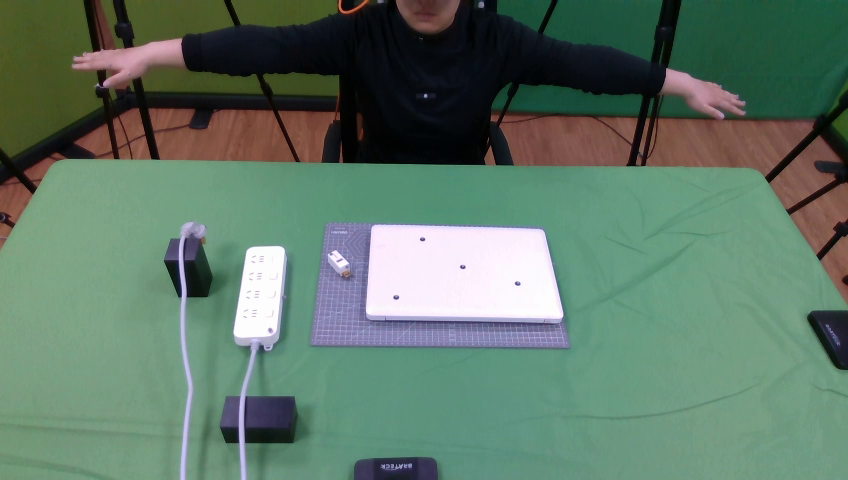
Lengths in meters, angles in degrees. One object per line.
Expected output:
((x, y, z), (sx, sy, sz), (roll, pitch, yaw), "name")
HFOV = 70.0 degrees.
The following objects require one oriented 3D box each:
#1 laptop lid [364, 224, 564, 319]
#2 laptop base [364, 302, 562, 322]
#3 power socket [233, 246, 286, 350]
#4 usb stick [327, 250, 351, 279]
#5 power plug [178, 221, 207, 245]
((0.070, 0.053, 1.138), (0.357, 0.013, 0.240), (3, 44, -2), "laptop lid")
((0.070, 0.063, 1.145), (0.354, 0.023, 0.234), (1, 43, -3), "laptop base")
((-0.290, 0.094, 1.077), (0.072, 0.033, 0.225), (-2, 46, -5), "power socket")
((-0.158, 0.047, 1.133), (0.021, 0.027, 0.059), (-29, 58, -27), "usb stick")
((-0.413, -0.003, 1.069), (0.035, 0.053, 0.072), (-1, 41, 24), "power plug")
